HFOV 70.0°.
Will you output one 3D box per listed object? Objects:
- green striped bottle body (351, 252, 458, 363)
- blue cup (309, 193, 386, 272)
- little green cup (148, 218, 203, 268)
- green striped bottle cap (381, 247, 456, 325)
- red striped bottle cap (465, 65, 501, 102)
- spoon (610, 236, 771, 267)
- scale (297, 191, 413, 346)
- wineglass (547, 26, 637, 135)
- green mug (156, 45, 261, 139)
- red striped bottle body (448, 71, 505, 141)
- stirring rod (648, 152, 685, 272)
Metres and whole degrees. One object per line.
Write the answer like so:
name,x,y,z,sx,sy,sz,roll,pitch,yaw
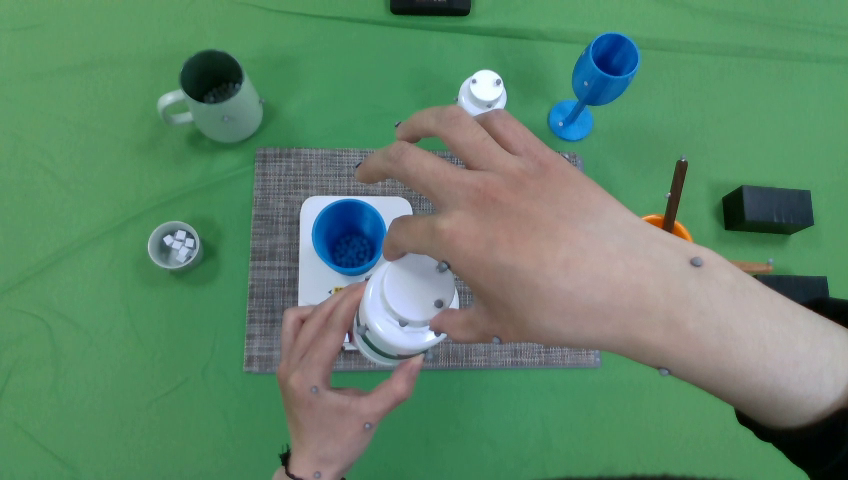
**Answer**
green striped bottle body,-0.015,0.047,0.420,0.063,0.119,0.063,4,71,-11
blue cup,-0.089,-0.001,0.723,0.093,0.100,0.092,1,78,-5
little green cup,-0.311,0.006,0.768,0.061,0.039,0.061,2,75,-6
green striped bottle cap,-0.004,0.027,0.359,0.044,0.020,0.044,1,69,-3
red striped bottle cap,0.074,-0.197,0.757,0.044,0.018,0.044,1,73,-4
spoon,0.330,0.020,0.768,0.022,0.192,0.041,22,78,-44
scale,-0.088,0.034,0.782,0.149,0.031,0.200,-1,76,-5
wineglass,0.216,-0.204,0.800,0.074,0.173,0.073,1,75,-4
green mug,-0.280,-0.184,0.785,0.125,0.105,0.092,-22,79,-10
red striped bottle body,0.070,-0.183,0.809,0.063,0.120,0.062,1,76,-5
stirring rod,0.310,-0.031,0.778,0.014,0.177,0.006,5,34,10
